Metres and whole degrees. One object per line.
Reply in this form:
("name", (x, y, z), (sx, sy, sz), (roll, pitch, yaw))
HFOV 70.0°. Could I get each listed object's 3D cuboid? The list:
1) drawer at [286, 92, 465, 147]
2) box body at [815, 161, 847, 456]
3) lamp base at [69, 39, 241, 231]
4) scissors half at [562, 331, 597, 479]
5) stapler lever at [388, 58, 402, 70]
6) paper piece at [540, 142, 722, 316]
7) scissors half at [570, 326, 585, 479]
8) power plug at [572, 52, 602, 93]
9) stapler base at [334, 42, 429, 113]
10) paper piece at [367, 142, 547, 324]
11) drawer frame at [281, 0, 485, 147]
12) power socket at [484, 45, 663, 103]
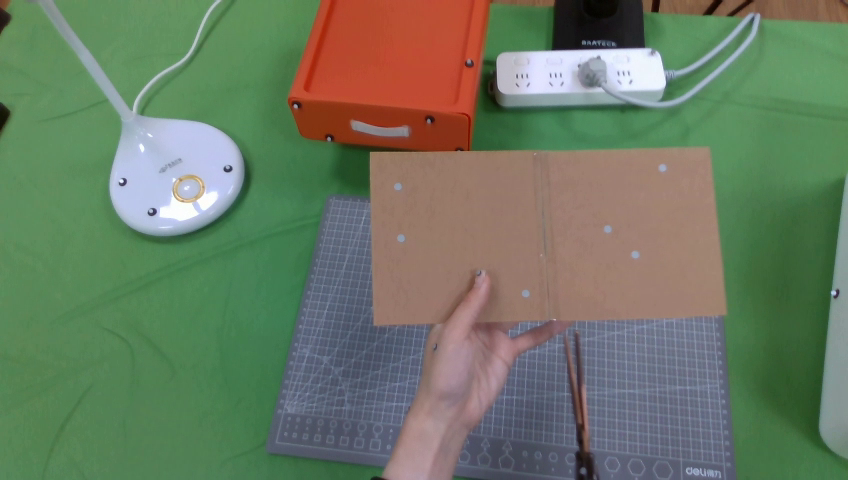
("drawer", (-0.037, -0.216, 0.710), (0.194, 0.074, 0.210), (6, 63, 7))
("box body", (0.533, 0.052, 0.554), (0.253, 0.161, 0.362), (18, 66, 11))
("lamp base", (-0.316, -0.124, 0.670), (0.178, 0.182, 0.160), (36, 70, 22))
("scissors half", (0.111, 0.143, 0.415), (0.013, 0.040, 0.173), (0, 57, -6))
("stapler lever", (-0.063, -0.205, 0.698), (0.117, 0.040, 0.027), (34, 86, 22))
("paper piece", (0.157, -0.010, 0.467), (0.135, 0.004, 0.135), (-1, 82, 0))
("scissors half", (0.110, 0.149, 0.439), (0.013, 0.040, 0.175), (-2, 95, -2))
("power plug", (0.198, -0.197, 0.741), (0.035, 0.053, 0.072), (10, 64, 7))
("stapler base", (-0.054, -0.198, 0.722), (0.129, 0.024, 0.041), (35, 86, 21))
("paper piece", (0.025, -0.007, 0.462), (0.136, 0.008, 0.138), (-1, 84, -2))
("drawer frame", (-0.038, -0.219, 0.711), (0.201, 0.083, 0.212), (6, 63, 6))
("power socket", (0.190, -0.212, 0.774), (0.227, 0.033, 0.071), (0, 64, 2))
